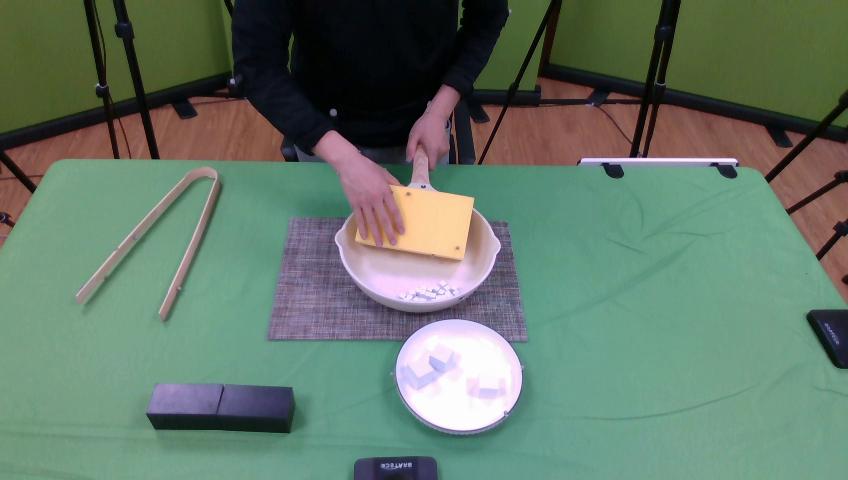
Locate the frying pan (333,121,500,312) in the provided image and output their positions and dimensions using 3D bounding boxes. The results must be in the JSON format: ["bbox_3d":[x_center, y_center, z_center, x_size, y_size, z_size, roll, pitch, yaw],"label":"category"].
[{"bbox_3d":[-0.011,-0.063,1.195,0.307,0.103,0.485,4,55,-2],"label":"frying pan"}]

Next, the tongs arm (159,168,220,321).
[{"bbox_3d":[-0.446,-0.006,1.164,0.028,0.028,0.385,1,46,0],"label":"tongs arm"}]

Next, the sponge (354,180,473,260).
[{"bbox_3d":[-0.019,-0.037,1.150,0.207,0.061,0.118,9,85,0],"label":"sponge"}]

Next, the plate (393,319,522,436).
[{"bbox_3d":[0.053,0.222,0.979,0.208,0.039,0.206,2,46,-2],"label":"plate"}]

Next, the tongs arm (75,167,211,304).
[{"bbox_3d":[-0.526,-0.021,1.167,0.051,0.026,0.383,13,46,7],"label":"tongs arm"}]
